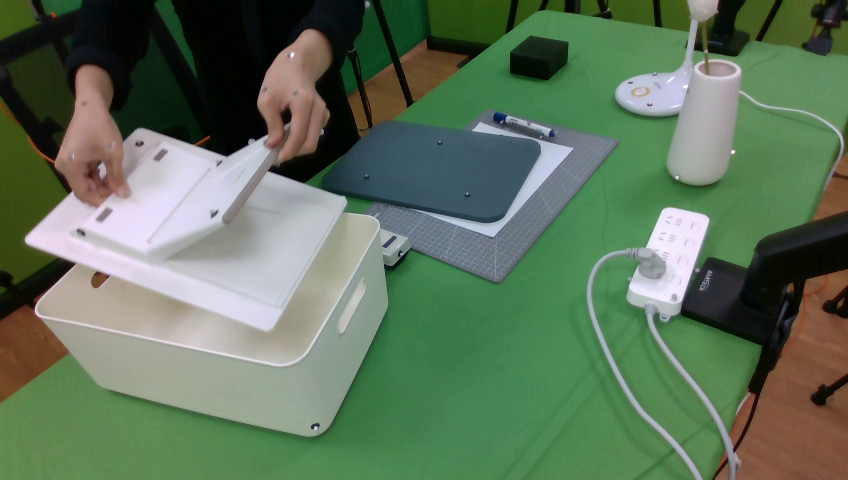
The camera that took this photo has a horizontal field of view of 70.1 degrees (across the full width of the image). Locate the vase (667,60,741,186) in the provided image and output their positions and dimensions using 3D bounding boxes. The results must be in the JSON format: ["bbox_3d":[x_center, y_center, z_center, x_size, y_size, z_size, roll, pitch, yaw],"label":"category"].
[{"bbox_3d":[0.463,-0.189,0.994,0.098,0.201,0.097,-4,40,4],"label":"vase"}]

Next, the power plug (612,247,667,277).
[{"bbox_3d":[0.306,0.031,0.852,0.072,0.053,0.035,21,48,37],"label":"power plug"}]

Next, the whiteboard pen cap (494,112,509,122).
[{"bbox_3d":[0.161,-0.253,1.248,0.033,0.018,0.018,27,51,36],"label":"whiteboard pen cap"}]

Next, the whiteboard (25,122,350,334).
[{"bbox_3d":[-0.264,-0.064,0.681,0.305,0.144,0.217,19,51,5],"label":"whiteboard"}]

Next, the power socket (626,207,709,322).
[{"bbox_3d":[0.360,0.026,0.886,0.072,0.033,0.227,17,46,27],"label":"power socket"}]

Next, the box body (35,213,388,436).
[{"bbox_3d":[-0.251,0.087,0.800,0.362,0.161,0.254,7,42,16],"label":"box body"}]

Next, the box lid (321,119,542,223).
[{"bbox_3d":[0.017,-0.141,1.145,0.369,0.015,0.263,12,44,22],"label":"box lid"}]

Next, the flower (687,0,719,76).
[{"bbox_3d":[0.436,-0.242,0.934,0.038,0.364,0.043,-23,49,9],"label":"flower"}]

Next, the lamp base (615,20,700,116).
[{"bbox_3d":[0.484,-0.364,1.211,0.180,0.181,0.159,-15,41,-14],"label":"lamp base"}]

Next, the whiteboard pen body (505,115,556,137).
[{"bbox_3d":[0.203,-0.232,1.213,0.139,0.017,0.017,27,51,36],"label":"whiteboard pen body"}]

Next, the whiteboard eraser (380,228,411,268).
[{"bbox_3d":[-0.081,0.007,0.964,0.112,0.042,0.056,19,49,27],"label":"whiteboard eraser"}]
